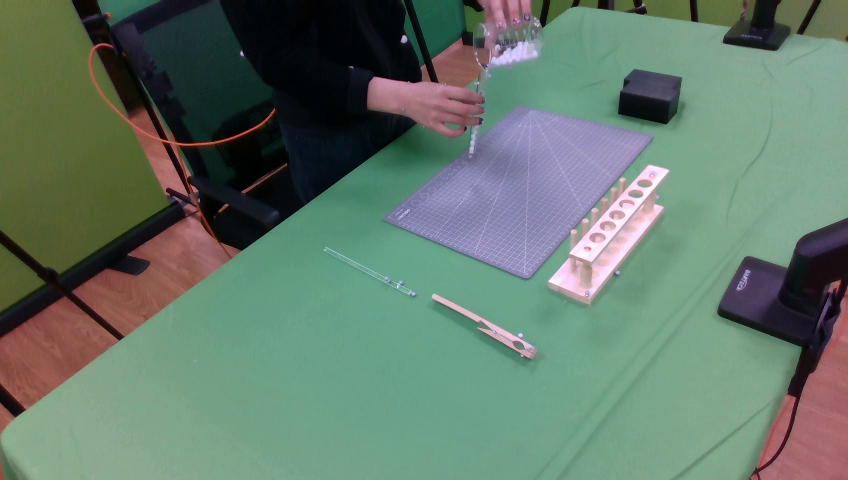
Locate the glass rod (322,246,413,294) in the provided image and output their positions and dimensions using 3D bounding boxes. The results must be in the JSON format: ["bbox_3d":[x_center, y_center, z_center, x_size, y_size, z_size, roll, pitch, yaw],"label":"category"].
[{"bbox_3d":[-0.093,0.045,0.956,0.198,0.008,0.008,24,51,33],"label":"glass rod"}]

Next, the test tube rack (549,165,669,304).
[{"bbox_3d":[0.279,-0.018,0.902,0.066,0.085,0.243,24,50,33],"label":"test tube rack"}]

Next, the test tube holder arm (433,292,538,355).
[{"bbox_3d":[0.081,0.112,0.832,0.177,0.015,0.013,28,82,36],"label":"test tube holder arm"}]

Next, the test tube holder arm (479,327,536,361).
[{"bbox_3d":[0.110,0.134,0.805,0.087,0.015,0.010,29,82,36],"label":"test tube holder arm"}]

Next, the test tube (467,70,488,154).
[{"bbox_3d":[0.092,-0.220,1.052,0.017,0.150,0.017,5,31,-3],"label":"test tube"}]

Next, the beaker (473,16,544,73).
[{"bbox_3d":[0.141,-0.326,1.002,0.100,0.084,0.073,-14,35,-12],"label":"beaker"}]
